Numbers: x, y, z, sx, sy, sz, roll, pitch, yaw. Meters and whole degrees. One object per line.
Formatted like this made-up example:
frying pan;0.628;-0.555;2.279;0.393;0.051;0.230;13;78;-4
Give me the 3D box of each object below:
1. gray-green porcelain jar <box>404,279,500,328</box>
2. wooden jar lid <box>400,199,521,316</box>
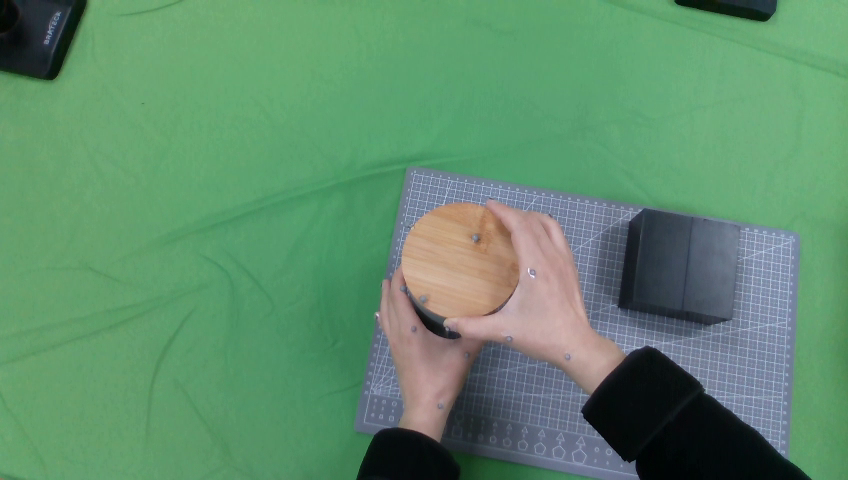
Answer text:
gray-green porcelain jar;0.033;0.032;0.609;0.106;0.127;0.105;0;77;0
wooden jar lid;0.033;0.016;0.547;0.108;0.021;0.108;-1;75;3
